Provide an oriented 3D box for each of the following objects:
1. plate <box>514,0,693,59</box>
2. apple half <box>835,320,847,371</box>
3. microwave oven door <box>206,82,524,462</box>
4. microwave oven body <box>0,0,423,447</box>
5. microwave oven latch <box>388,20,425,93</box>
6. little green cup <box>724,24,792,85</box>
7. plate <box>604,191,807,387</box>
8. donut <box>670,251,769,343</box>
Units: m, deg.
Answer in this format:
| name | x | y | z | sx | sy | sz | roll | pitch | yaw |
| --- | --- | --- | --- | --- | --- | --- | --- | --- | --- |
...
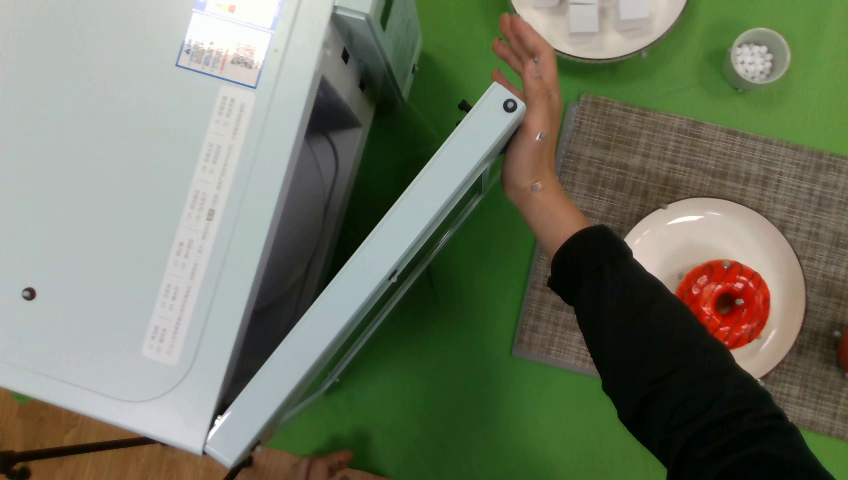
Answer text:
| name | x | y | z | sx | sy | sz | roll | pitch | yaw |
| --- | --- | --- | --- | --- | --- | --- | --- | --- | --- |
| plate | 0.199 | -0.302 | 0.680 | 0.207 | 0.039 | 0.207 | 0 | 88 | 4 |
| apple half | 0.462 | 0.104 | 0.626 | 0.053 | 0.075 | 0.081 | 34 | 94 | 9 |
| microwave oven door | -0.038 | 0.029 | 0.568 | 0.039 | 0.244 | 0.356 | 39 | 91 | 6 |
| microwave oven body | -0.222 | -0.084 | 0.590 | 0.326 | 0.260 | 0.441 | 16 | 90 | 4 |
| microwave oven latch | -0.020 | -0.207 | 0.675 | 0.030 | 0.029 | 0.079 | 16 | 90 | 5 |
| little green cup | 0.363 | -0.201 | 0.665 | 0.061 | 0.039 | 0.061 | 0 | 88 | 5 |
| plate | 0.299 | 0.052 | 0.658 | 0.209 | 0.038 | 0.209 | 0 | 88 | 5 |
| donut | 0.314 | 0.061 | 0.645 | 0.099 | 0.048 | 0.099 | 0 | 90 | 6 |
